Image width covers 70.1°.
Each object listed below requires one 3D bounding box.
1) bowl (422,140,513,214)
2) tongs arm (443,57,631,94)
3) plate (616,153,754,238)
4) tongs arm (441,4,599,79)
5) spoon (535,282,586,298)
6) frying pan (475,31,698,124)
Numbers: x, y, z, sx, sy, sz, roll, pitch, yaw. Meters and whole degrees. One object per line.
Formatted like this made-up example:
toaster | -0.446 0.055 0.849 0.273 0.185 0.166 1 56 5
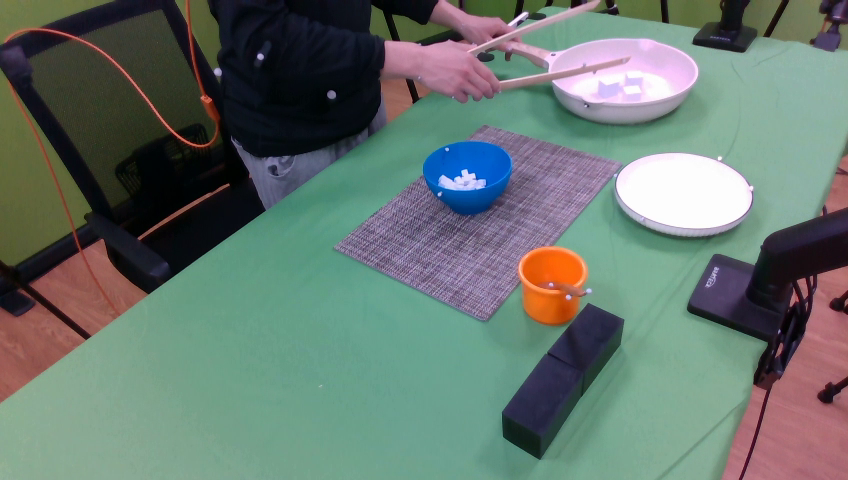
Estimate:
bowl | 0.075 -0.097 1.021 0.151 0.077 0.150 -4 41 4
tongs arm | 0.214 -0.310 1.095 0.387 0.026 0.050 -18 79 -23
plate | 0.416 -0.069 0.977 0.207 0.039 0.206 -4 40 4
tongs arm | 0.184 -0.372 1.108 0.389 0.027 0.028 -28 86 -25
spoon | 0.176 0.063 0.774 0.041 0.194 0.021 -3 85 1
frying pan | 0.320 -0.371 1.290 0.485 0.103 0.307 28 50 23
